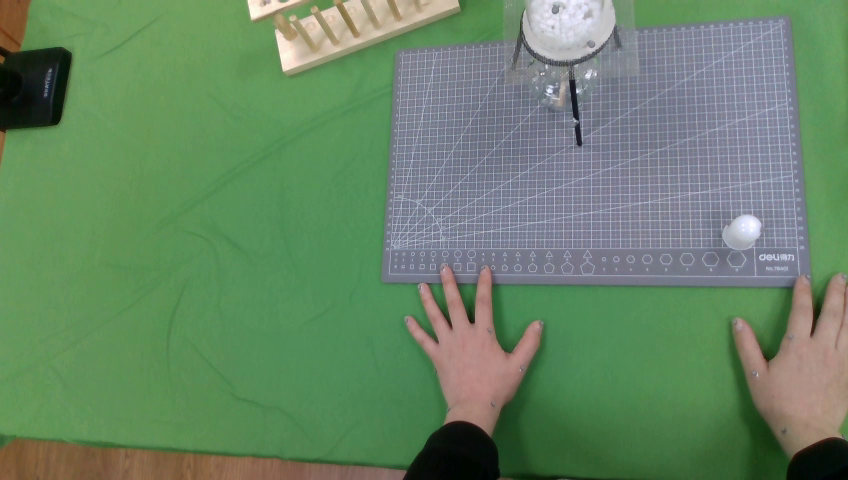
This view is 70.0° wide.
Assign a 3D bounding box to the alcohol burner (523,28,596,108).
[{"bbox_3d":[0.145,-0.191,0.651,0.078,0.120,0.077,-3,77,12],"label":"alcohol burner"}]

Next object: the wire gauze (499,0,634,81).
[{"bbox_3d":[0.134,-0.211,0.578,0.125,0.011,0.121,-1,82,12],"label":"wire gauze"}]

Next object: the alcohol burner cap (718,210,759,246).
[{"bbox_3d":[0.317,-0.014,0.607,0.034,0.048,0.033,-3,77,14],"label":"alcohol burner cap"}]

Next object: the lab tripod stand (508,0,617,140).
[{"bbox_3d":[0.150,-0.196,0.640,0.148,0.132,0.147,-2,78,12],"label":"lab tripod stand"}]

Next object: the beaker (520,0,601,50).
[{"bbox_3d":[0.117,-0.221,0.534,0.083,0.101,0.074,13,82,17],"label":"beaker"}]

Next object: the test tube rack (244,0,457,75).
[{"bbox_3d":[-0.089,-0.293,0.751,0.242,0.086,0.066,-17,74,10],"label":"test tube rack"}]
